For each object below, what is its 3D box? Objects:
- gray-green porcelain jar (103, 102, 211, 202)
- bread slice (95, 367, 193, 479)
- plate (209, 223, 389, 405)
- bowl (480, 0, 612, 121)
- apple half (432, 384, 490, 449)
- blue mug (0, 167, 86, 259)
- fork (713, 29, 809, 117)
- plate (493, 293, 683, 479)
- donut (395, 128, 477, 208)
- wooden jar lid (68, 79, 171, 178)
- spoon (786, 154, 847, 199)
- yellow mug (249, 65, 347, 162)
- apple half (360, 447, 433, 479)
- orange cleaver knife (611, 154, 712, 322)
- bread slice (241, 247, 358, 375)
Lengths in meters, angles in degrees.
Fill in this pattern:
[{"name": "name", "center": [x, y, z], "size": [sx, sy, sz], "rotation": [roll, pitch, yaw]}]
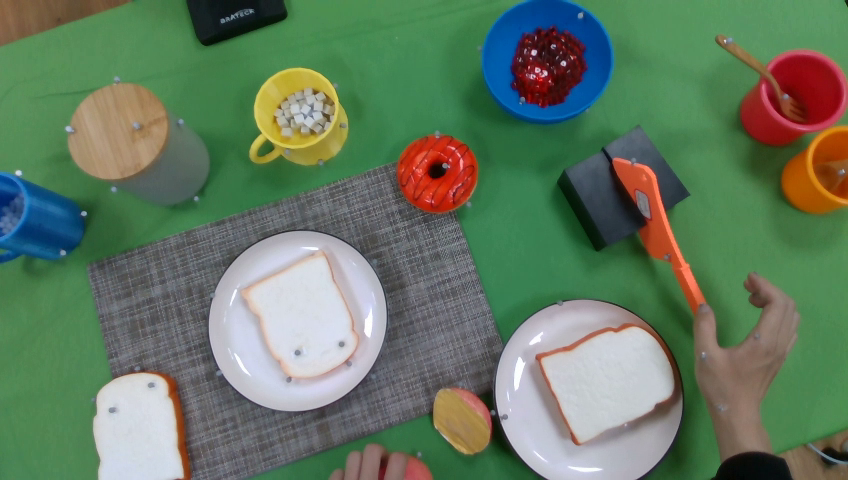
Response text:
[{"name": "gray-green porcelain jar", "center": [-0.317, -0.105, 0.704], "size": [0.106, 0.127, 0.105], "rotation": [0, 80, 2]}, {"name": "bread slice", "center": [-0.330, 0.215, 0.702], "size": [0.105, 0.019, 0.131], "rotation": [-11, 81, 0]}, {"name": "plate", "center": [-0.143, 0.085, 0.706], "size": [0.207, 0.039, 0.207], "rotation": [0, 80, 3]}, {"name": "bowl", "center": [0.140, -0.205, 0.726], "size": [0.151, 0.077, 0.151], "rotation": [0, 81, 3]}, {"name": "apple half", "center": [0.046, 0.194, 0.681], "size": [0.033, 0.081, 0.081], "rotation": [-29, 77, -43]}, {"name": "blue mug", "center": [-0.478, -0.019, 0.706], "size": [0.116, 0.106, 0.082], "rotation": [-45, 81, -5]}, {"name": "fork", "center": [0.381, -0.184, 0.677], "size": [0.209, 0.018, 0.028], "rotation": [20, 77, -36]}, {"name": "plate", "center": [0.181, 0.166, 0.682], "size": [0.209, 0.038, 0.208], "rotation": [-1, 80, 3]}, {"name": "donut", "center": [0.014, -0.085, 0.725], "size": [0.099, 0.048, 0.098], "rotation": [0, 81, 2]}, {"name": "wooden jar lid", "center": [-0.320, -0.116, 0.643], "size": [0.108, 0.021, 0.108], "rotation": [-1, 79, 4]}, {"name": "spoon", "center": [0.495, -0.102, 0.658], "size": [0.022, 0.194, 0.041], "rotation": [-14, 73, -46]}, {"name": "yellow mug", "center": [-0.160, -0.142, 0.735], "size": [0.131, 0.064, 0.099], "rotation": [-42, 81, -4]}, {"name": "apple half", "center": [-0.034, 0.270, 0.665], "size": [0.074, 0.053, 0.080], "rotation": [33, 85, 14]}, {"name": "orange cleaver knife", "center": [0.267, -0.003, 0.685], "size": [0.012, 0.077, 0.212], "rotation": [-30, 102, -10]}, {"name": "bread slice", "center": [-0.136, 0.087, 0.706], "size": [0.107, 0.018, 0.133], "rotation": [-30, 80, -2]}]
